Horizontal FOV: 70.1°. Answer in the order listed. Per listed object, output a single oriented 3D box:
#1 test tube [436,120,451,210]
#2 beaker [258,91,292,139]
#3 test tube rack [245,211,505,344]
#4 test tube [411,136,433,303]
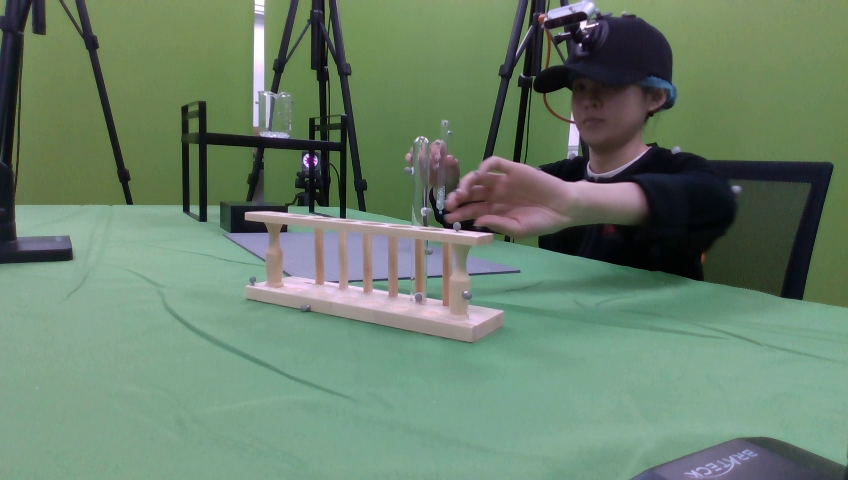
[{"bbox_3d":[0.032,-0.124,1.007,0.017,0.150,0.017,3,7,0],"label":"test tube"},{"bbox_3d":[-0.331,-0.276,1.343,0.074,0.100,0.083,0,8,-20],"label":"beaker"},{"bbox_3d":[-0.049,0.024,0.547,0.241,0.085,0.067,7,8,28],"label":"test tube rack"},{"bbox_3d":[-0.002,-0.017,0.538,0.017,0.150,0.017,2,7,0],"label":"test tube"}]
